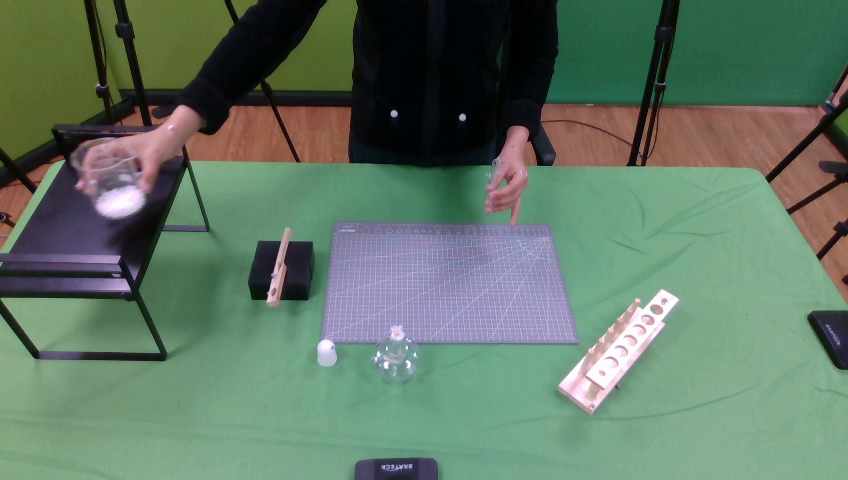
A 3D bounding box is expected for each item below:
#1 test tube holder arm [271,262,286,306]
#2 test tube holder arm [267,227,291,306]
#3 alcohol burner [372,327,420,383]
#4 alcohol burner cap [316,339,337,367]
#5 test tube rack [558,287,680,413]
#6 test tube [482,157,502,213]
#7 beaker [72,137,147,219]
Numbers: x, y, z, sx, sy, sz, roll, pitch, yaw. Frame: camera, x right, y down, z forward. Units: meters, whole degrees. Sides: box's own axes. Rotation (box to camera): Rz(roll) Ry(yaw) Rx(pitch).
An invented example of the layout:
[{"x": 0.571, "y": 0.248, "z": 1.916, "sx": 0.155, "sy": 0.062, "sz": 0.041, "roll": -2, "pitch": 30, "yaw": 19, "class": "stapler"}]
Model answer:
[{"x": -0.249, "y": 0.074, "z": 1.039, "sx": 0.010, "sy": 0.015, "sz": 0.087, "roll": -7, "pitch": 46, "yaw": 7, "class": "test tube holder arm"}, {"x": -0.255, "y": 0.042, "z": 1.070, "sx": 0.013, "sy": 0.015, "sz": 0.177, "roll": -7, "pitch": 46, "yaw": 7, "class": "test tube holder arm"}, {"x": -0.044, "y": 0.175, "z": 0.961, "sx": 0.078, "sy": 0.120, "sz": 0.077, "roll": 1, "pitch": 47, "yaw": -1, "class": "alcohol burner"}, {"x": -0.161, "y": 0.182, "z": 0.995, "sx": 0.034, "sy": 0.048, "sz": 0.033, "roll": 1, "pitch": 47, "yaw": -1, "class": "alcohol burner cap"}, {"x": 0.326, "y": 0.170, "z": 1.009, "sx": 0.066, "sy": 0.085, "sz": 0.242, "roll": 36, "pitch": 54, "yaw": 27, "class": "test tube rack"}, {"x": 0.118, "y": -0.094, "z": 1.069, "sx": 0.017, "sy": 0.151, "sz": 0.017, "roll": 1, "pitch": 59, "yaw": -2, "class": "test tube"}, {"x": -0.445, "y": -0.086, "z": 0.873, "sx": 0.084, "sy": 0.101, "sz": 0.073, "roll": -4, "pitch": 47, "yaw": -9, "class": "beaker"}]
